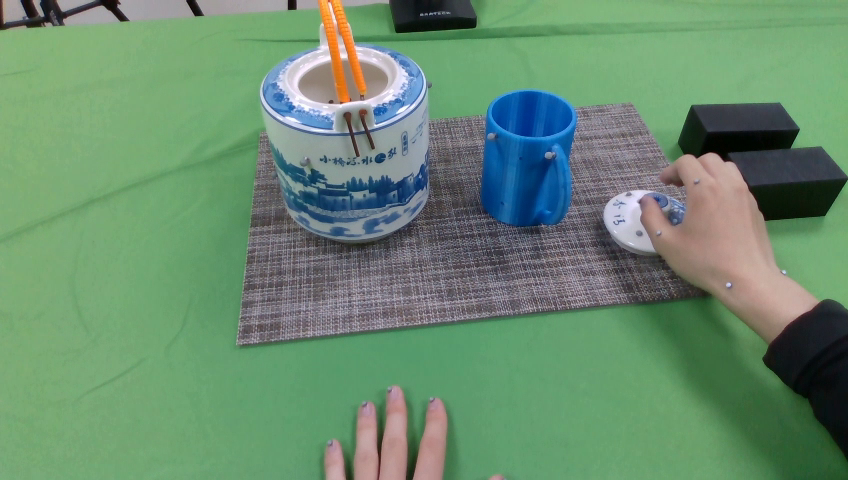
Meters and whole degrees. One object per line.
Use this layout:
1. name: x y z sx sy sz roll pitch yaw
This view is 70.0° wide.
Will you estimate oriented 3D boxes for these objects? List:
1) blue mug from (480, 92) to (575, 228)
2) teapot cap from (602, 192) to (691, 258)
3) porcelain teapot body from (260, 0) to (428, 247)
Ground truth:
1. blue mug: 0.104 -0.066 0.578 0.082 0.107 0.115 -18 48 -16
2. teapot cap: 0.213 -0.020 0.577 0.085 0.044 0.084 4 46 -4
3. porcelain teapot body: -0.076 -0.131 0.560 0.145 0.227 0.203 -11 46 -9
